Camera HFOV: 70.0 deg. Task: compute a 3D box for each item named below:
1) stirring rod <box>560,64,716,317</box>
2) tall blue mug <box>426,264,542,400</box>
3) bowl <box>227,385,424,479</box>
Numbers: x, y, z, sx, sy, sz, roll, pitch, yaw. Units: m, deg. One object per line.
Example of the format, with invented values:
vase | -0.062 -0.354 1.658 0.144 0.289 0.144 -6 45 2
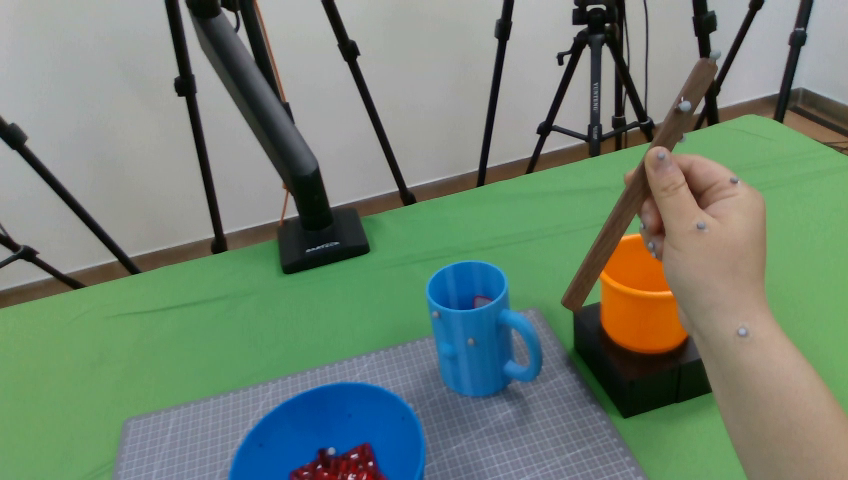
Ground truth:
stirring rod | 0.134 -0.029 0.383 0.014 0.176 0.006 26 8 -13
tall blue mug | 0.061 0.089 0.577 0.107 0.109 0.077 1 34 15
bowl | -0.068 0.196 0.476 0.151 0.077 0.150 -6 33 5
